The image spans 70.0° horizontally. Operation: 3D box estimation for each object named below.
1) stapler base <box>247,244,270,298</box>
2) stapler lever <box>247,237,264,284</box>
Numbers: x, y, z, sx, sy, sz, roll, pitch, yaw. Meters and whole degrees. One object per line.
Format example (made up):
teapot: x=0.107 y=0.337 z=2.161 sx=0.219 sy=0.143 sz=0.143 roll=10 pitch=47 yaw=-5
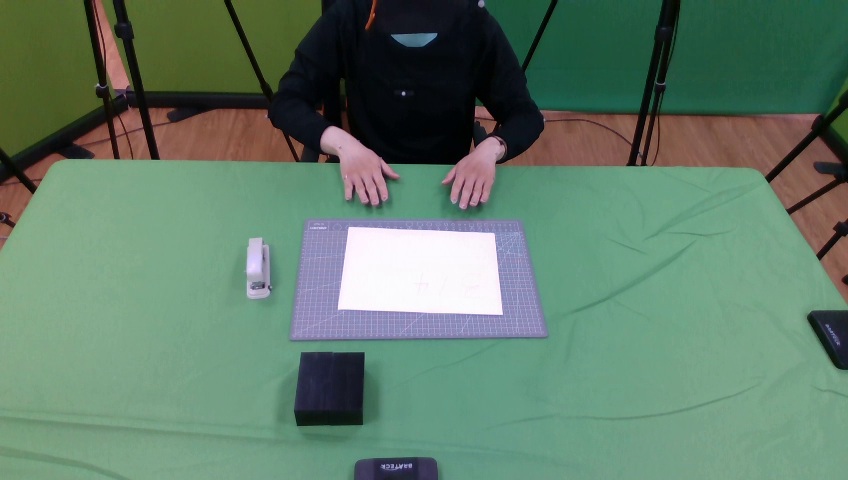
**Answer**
stapler base: x=-0.308 y=0.050 z=1.123 sx=0.041 sy=0.024 sz=0.129 roll=-4 pitch=45 yaw=-12
stapler lever: x=-0.307 y=0.031 z=1.106 sx=0.027 sy=0.040 sz=0.117 roll=-4 pitch=45 yaw=-12
